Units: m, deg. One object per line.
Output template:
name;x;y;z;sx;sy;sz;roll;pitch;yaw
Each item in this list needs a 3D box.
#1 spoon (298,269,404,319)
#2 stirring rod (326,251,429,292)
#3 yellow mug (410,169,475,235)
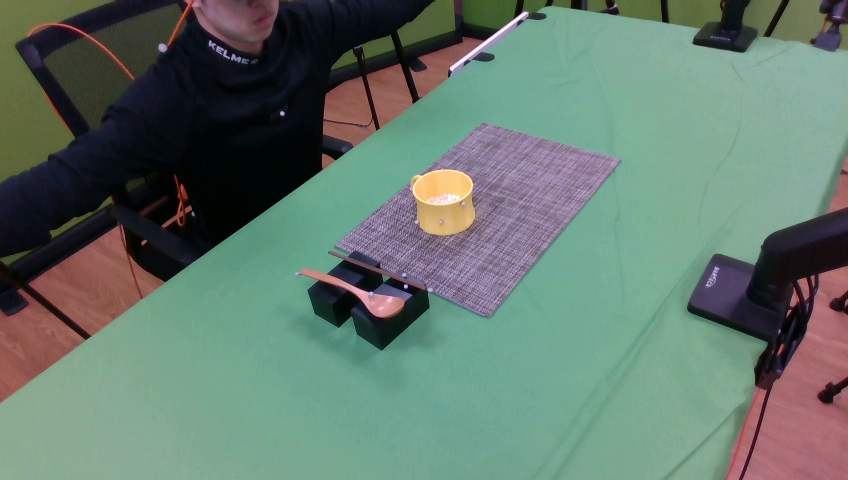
spoon;-0.106;0.068;0.831;0.192;0.022;0.042;21;49;31
stirring rod;-0.068;0.043;0.858;0.175;0.006;0.014;18;9;27
yellow mug;0.022;-0.070;1.007;0.129;0.064;0.100;29;52;36
